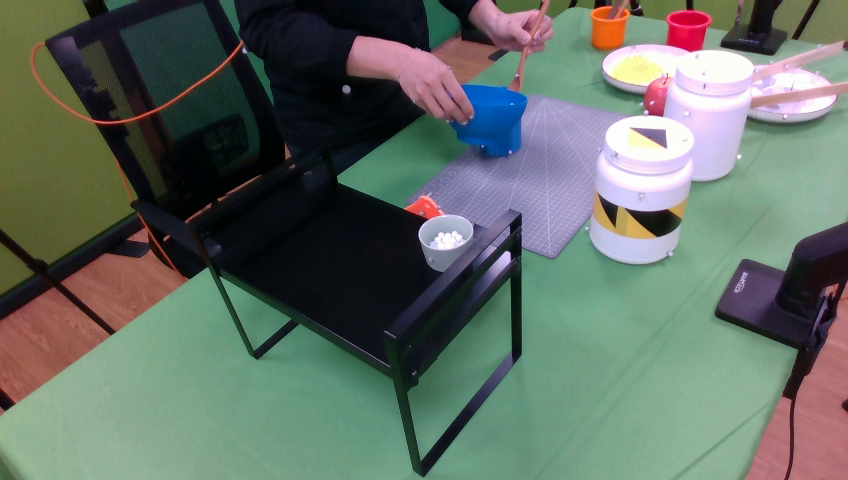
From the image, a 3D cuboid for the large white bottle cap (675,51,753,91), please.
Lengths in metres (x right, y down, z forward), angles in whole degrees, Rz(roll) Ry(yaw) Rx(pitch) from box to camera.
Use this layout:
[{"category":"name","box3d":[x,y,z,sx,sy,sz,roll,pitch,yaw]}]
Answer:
[{"category":"large white bottle cap","box3d":[0.463,-0.271,0.967,0.115,0.018,0.114,-4,40,3]}]

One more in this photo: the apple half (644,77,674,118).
[{"category":"apple half","box3d":[0.463,-0.279,1.194,0.053,0.075,0.081,8,46,24]}]

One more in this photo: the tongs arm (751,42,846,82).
[{"category":"tongs arm","box3d":[0.708,-0.331,1.193,0.386,0.026,0.050,-18,45,-16]}]

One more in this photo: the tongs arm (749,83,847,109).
[{"category":"tongs arm","box3d":[0.734,-0.280,1.133,0.388,0.028,0.028,-9,47,-5]}]

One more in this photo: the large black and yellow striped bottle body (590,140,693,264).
[{"category":"large black and yellow striped bottle body","box3d":[0.317,-0.071,0.889,0.131,0.185,0.130,-4,41,4]}]

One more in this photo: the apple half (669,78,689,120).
[{"category":"apple half","box3d":[0.498,-0.273,1.180,0.032,0.082,0.081,7,42,25]}]

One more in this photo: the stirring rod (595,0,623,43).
[{"category":"stirring rod","box3d":[0.460,-0.556,1.460,0.014,0.006,0.176,30,93,23]}]

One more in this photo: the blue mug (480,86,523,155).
[{"category":"blue mug","box3d":[0.135,-0.235,1.163,0.082,0.106,0.115,-36,48,-29]}]

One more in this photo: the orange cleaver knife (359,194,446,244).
[{"category":"orange cleaver knife","box3d":[-0.032,-0.026,0.965,0.210,0.077,0.012,-10,29,51]}]

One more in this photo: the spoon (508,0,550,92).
[{"category":"spoon","box3d":[0.187,-0.339,1.098,0.022,0.193,0.041,9,21,-25]}]

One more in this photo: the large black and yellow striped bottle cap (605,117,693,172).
[{"category":"large black and yellow striped bottle cap","box3d":[0.309,-0.134,0.833,0.115,0.019,0.114,-5,40,5]}]

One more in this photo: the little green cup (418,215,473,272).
[{"category":"little green cup","box3d":[0.026,0.005,0.678,0.061,0.039,0.061,-4,40,4]}]

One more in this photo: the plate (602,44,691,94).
[{"category":"plate","box3d":[0.495,-0.367,1.317,0.209,0.038,0.208,-4,40,4]}]

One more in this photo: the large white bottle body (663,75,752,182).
[{"category":"large white bottle body","box3d":[0.472,-0.207,1.022,0.130,0.185,0.130,-4,41,4]}]

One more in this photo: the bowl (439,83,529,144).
[{"category":"bowl","box3d":[0.097,-0.210,1.023,0.151,0.077,0.151,5,26,-2]}]

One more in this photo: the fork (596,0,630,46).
[{"category":"fork","box3d":[0.481,-0.556,1.452,0.028,0.019,0.207,40,103,40]}]

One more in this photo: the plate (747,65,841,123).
[{"category":"plate","box3d":[0.694,-0.282,1.189,0.207,0.039,0.206,-4,40,4]}]
